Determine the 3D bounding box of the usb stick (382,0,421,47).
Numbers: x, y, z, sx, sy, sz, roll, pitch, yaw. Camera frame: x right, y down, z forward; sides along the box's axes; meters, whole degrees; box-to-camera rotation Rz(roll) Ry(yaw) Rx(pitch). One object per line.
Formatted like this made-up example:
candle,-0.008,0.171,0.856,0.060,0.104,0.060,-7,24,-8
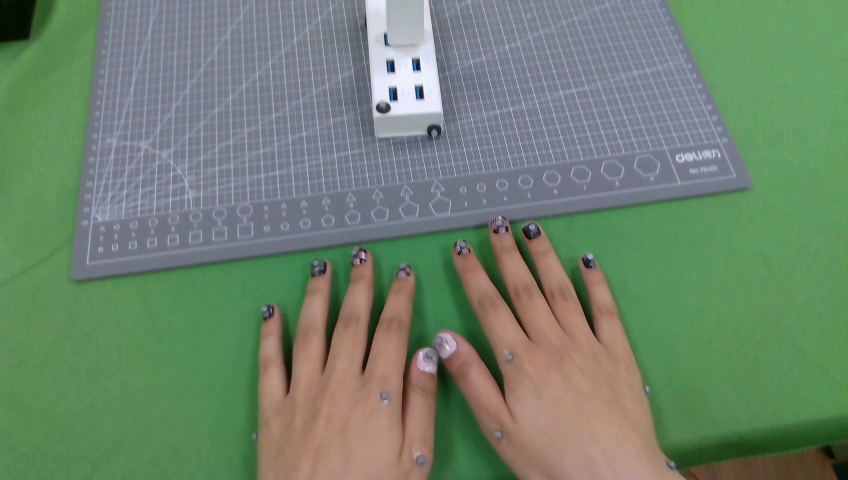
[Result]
usb stick,-0.015,-0.154,0.424,0.027,0.059,0.021,-7,63,-2

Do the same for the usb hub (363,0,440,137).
usb hub,-0.019,-0.133,0.446,0.049,0.025,0.124,-4,63,-3
